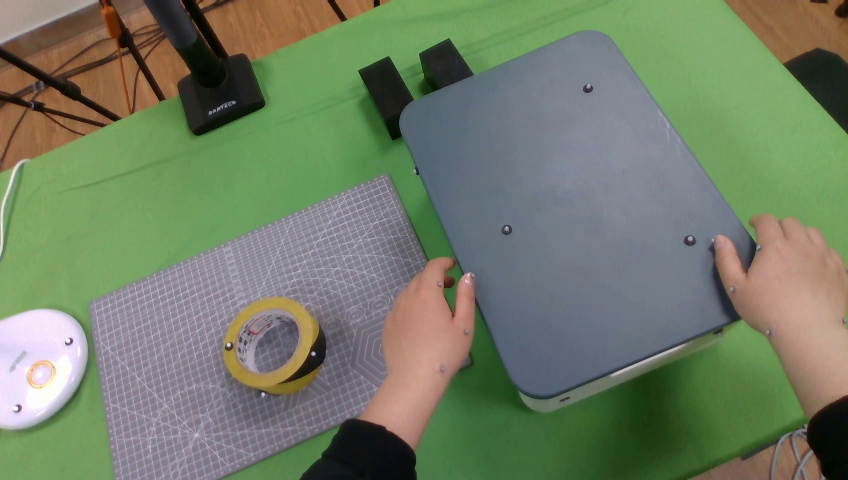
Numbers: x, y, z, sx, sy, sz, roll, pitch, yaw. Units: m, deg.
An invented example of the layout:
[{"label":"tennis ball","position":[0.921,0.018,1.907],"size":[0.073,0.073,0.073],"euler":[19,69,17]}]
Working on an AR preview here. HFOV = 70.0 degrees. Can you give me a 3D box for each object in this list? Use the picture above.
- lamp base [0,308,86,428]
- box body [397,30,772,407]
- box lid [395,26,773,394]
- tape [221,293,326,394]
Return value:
[{"label":"lamp base","position":[-0.547,0.131,0.733],"size":[0.178,0.182,0.160],"euler":[11,68,18]},{"label":"box body","position":[0.155,-0.022,0.688],"size":[0.254,0.162,0.360],"euler":[-23,64,-1]},{"label":"box lid","position":[0.142,-0.055,0.623],"size":[0.263,0.015,0.368],"euler":[-23,64,-1]},{"label":"tape","position":[-0.183,0.125,0.740],"size":[0.117,0.053,0.116],"euler":[-3,65,8]}]
